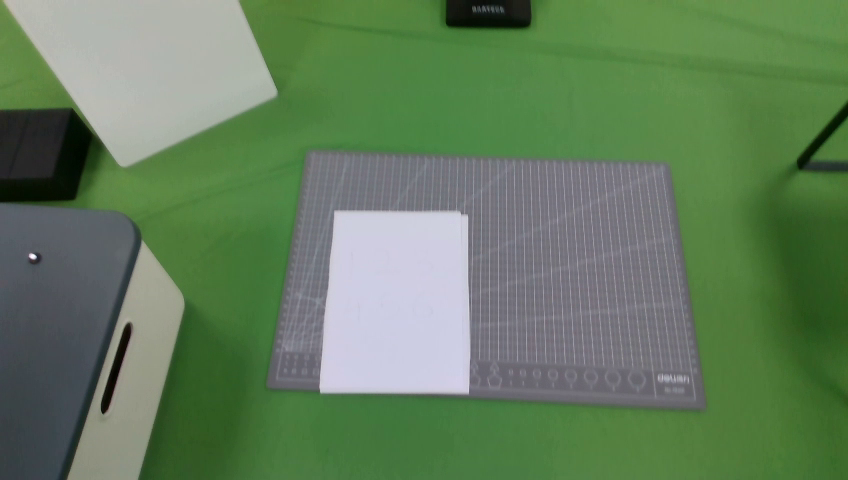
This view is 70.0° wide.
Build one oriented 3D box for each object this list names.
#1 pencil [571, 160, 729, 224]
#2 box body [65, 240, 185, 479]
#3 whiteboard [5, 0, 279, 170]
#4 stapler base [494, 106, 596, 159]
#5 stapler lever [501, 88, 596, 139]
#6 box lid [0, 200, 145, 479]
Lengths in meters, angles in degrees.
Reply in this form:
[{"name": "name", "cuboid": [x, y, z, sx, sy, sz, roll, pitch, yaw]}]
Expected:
[{"name": "pencil", "cuboid": [0.267, -0.060, 0.726, 0.193, 0.012, 0.012, 25, 65, 15]}, {"name": "box body", "cuboid": [-0.439, 0.112, 0.559, 0.364, 0.161, 0.252, 4, 63, 2]}, {"name": "whiteboard", "cuboid": [-0.344, -0.281, 0.714, 0.217, 0.308, 0.142, -29, 47, -13]}, {"name": "stapler base", "cuboid": [0.154, -0.146, 0.762, 0.130, 0.024, 0.041, 28, 66, 13]}, {"name": "stapler lever", "cuboid": [0.153, -0.159, 0.738, 0.117, 0.040, 0.026, 27, 65, 14]}, {"name": "box lid", "cuboid": [-0.441, 0.077, 0.493, 0.371, 0.015, 0.261, 4, 62, 1]}]
